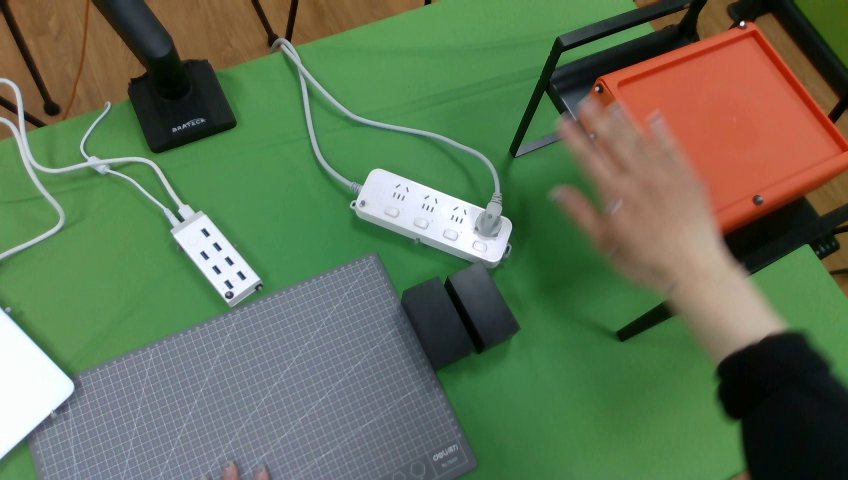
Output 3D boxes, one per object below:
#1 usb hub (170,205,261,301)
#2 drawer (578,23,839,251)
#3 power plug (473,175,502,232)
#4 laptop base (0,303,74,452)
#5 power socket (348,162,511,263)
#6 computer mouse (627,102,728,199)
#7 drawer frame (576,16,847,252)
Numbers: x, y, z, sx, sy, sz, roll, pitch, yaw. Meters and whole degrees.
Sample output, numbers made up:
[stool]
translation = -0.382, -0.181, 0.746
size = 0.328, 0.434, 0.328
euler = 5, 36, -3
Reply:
[usb hub]
translation = -0.266, 0.016, 0.771
size = 0.049, 0.025, 0.124
euler = -39, 78, -17
[drawer]
translation = 0.309, -0.117, 0.663
size = 0.212, 0.073, 0.193
euler = -23, 73, -15
[power plug]
translation = 0.093, -0.043, 0.809
size = 0.035, 0.053, 0.072
euler = 32, 67, 7
[laptop base]
translation = -0.602, 0.210, 0.663
size = 0.235, 0.023, 0.353
euler = 41, 71, 7
[power socket]
translation = 0.011, -0.038, 0.818
size = 0.226, 0.033, 0.072
euler = 22, 68, 3
[computer mouse]
translation = 0.281, -0.103, 0.670
size = 0.063, 0.041, 0.116
euler = -28, 72, -11
[drawer frame]
translation = 0.312, -0.120, 0.664
size = 0.214, 0.083, 0.200
euler = -24, 73, -15
